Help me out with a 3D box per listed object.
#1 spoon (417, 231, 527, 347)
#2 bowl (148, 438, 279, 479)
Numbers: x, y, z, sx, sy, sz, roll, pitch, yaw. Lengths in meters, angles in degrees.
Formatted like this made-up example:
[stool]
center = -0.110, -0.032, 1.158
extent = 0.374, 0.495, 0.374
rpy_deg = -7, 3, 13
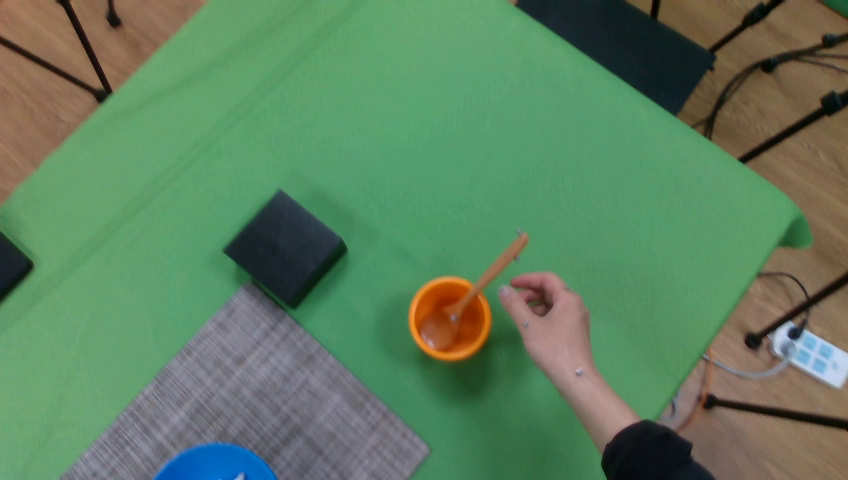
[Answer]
[spoon]
center = 0.052, 0.058, 0.674
extent = 0.041, 0.194, 0.022
rpy_deg = 49, 36, 13
[bowl]
center = -0.216, 0.288, 0.649
extent = 0.151, 0.077, 0.150
rpy_deg = 0, 75, 1
